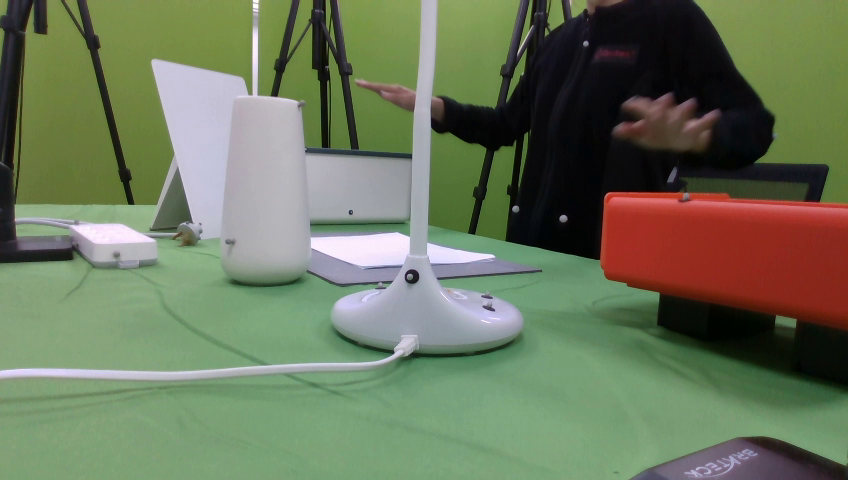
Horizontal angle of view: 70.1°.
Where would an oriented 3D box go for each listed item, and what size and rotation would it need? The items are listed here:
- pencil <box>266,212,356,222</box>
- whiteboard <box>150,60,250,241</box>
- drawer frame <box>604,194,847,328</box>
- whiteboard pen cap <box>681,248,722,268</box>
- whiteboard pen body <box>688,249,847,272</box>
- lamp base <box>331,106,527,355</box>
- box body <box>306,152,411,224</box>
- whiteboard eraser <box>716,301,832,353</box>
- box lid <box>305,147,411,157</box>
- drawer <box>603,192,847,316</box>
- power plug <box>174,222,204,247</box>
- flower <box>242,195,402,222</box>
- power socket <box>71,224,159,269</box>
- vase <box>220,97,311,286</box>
[{"bbox_3d":[-0.244,-0.049,1.319,0.195,0.012,0.012,4,7,-12],"label":"pencil"},{"bbox_3d":[-0.408,-0.139,1.093,0.143,0.305,0.218,-15,-1,26],"label":"whiteboard"},{"bbox_3d":[0.297,0.007,0.497,0.203,0.082,0.212,-1,7,-34],"label":"drawer frame"},{"bbox_3d":[0.250,0.017,0.544,0.033,0.018,0.018,2,7,25],"label":"whiteboard pen cap"},{"bbox_3d":[0.304,0.017,0.521,0.140,0.017,0.017,2,7,27],"label":"whiteboard pen body"},{"bbox_3d":[0.006,-0.012,0.478,0.161,0.180,0.179,2,10,2],"label":"lamp base"},{"bbox_3d":[-0.230,-0.126,1.371,0.366,0.160,0.253,-2,8,-33],"label":"box body"},{"bbox_3d":[0.256,0.042,0.472,0.112,0.042,0.056,44,20,31],"label":"whiteboard eraser"},{"bbox_3d":[-0.229,-0.200,1.361,0.373,0.015,0.262,-2,9,-33],"label":"box lid"},{"bbox_3d":[0.293,0.002,0.500,0.195,0.073,0.210,-1,8,-34],"label":"drawer"},{"bbox_3d":[-0.360,0.000,0.917,0.072,0.035,0.053,-42,4,39],"label":"power plug"},{"bbox_3d":[-0.231,-0.064,1.373,0.362,0.038,0.044,6,40,-2],"label":"flower"},{"bbox_3d":[-0.409,0.004,0.792,0.072,0.032,0.225,-2,8,-37],"label":"power socket"},{"bbox_3d":[-0.172,-0.052,0.662,0.098,0.200,0.098,3,8,0],"label":"vase"}]
